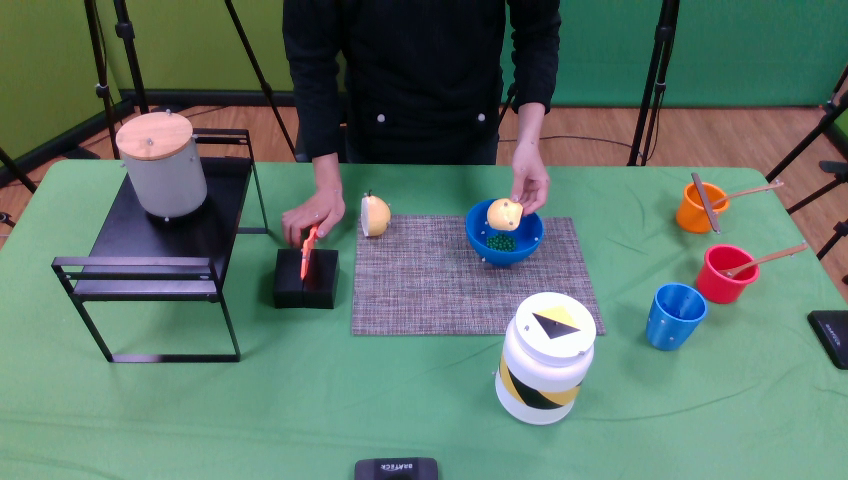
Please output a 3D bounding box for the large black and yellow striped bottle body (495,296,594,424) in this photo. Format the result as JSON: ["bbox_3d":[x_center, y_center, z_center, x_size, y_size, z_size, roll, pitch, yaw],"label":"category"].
[{"bbox_3d":[0.183,0.182,0.923,0.131,0.185,0.130,2,46,-2],"label":"large black and yellow striped bottle body"}]

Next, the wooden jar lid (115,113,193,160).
[{"bbox_3d":[-0.399,-0.151,0.900,0.108,0.021,0.107,3,46,-3],"label":"wooden jar lid"}]

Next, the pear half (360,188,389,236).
[{"bbox_3d":[-0.096,-0.060,1.181,0.056,0.110,0.076,-13,52,-17],"label":"pear half"}]

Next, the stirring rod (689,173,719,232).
[{"bbox_3d":[0.566,-0.079,1.225,0.014,0.006,0.175,2,45,2],"label":"stirring rod"}]

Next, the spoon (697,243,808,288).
[{"bbox_3d":[0.601,0.045,1.115,0.194,0.022,0.041,-29,35,30],"label":"spoon"}]

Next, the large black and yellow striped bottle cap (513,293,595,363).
[{"bbox_3d":[0.186,0.123,0.863,0.115,0.019,0.114,3,45,-3],"label":"large black and yellow striped bottle cap"}]

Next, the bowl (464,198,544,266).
[{"bbox_3d":[0.149,-0.003,1.168,0.151,0.077,0.150,2,46,-2],"label":"bowl"}]

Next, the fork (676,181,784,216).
[{"bbox_3d":[0.618,-0.084,1.235,0.207,0.019,0.028,-23,21,38],"label":"fork"}]

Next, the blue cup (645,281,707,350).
[{"bbox_3d":[0.425,0.136,1.042,0.093,0.101,0.092,1,44,-1],"label":"blue cup"}]

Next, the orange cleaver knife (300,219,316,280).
[{"bbox_3d":[-0.216,0.013,1.126,0.012,0.077,0.210,4,17,-6],"label":"orange cleaver knife"}]

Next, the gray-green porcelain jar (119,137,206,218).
[{"bbox_3d":[-0.403,-0.106,0.946,0.106,0.127,0.105,3,46,-2],"label":"gray-green porcelain jar"}]

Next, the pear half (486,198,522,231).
[{"bbox_3d":[0.147,-0.053,1.135,0.070,0.031,0.087,-40,37,8],"label":"pear half"}]
